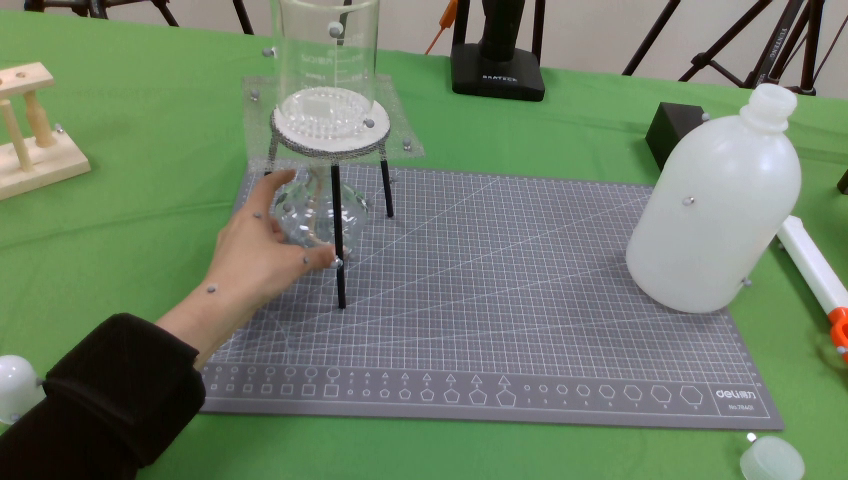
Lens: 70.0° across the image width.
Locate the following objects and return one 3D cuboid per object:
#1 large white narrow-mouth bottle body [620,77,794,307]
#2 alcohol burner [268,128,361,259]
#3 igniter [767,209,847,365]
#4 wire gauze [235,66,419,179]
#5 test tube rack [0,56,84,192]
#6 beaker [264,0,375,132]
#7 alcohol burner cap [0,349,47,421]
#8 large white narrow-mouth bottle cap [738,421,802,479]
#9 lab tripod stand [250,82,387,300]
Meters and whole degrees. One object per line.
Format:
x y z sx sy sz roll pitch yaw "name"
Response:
0.238 -0.040 0.500 0.102 0.196 0.101 4 43 -4 "large white narrow-mouth bottle body"
-0.090 -0.042 0.503 0.078 0.120 0.077 7 42 -6 "alcohol burner"
0.369 0.067 0.536 0.057 0.025 0.273 12 42 -12 "igniter"
-0.076 -0.095 0.452 0.122 0.011 0.123 -7 50 -15 "wire gauze"
-0.430 -0.072 0.500 0.242 0.086 0.066 -29 55 -33 "test tube rack"
-0.075 -0.133 0.420 0.084 0.101 0.073 -1 46 -11 "beaker"
-0.268 0.091 0.389 0.034 0.048 0.033 6 43 -6 "alcohol burner cap"
0.246 0.151 0.432 0.038 0.024 0.037 5 43 -4 "large white narrow-mouth bottle cap"
-0.080 -0.046 0.496 0.148 0.132 0.147 6 44 -6 "lab tripod stand"
